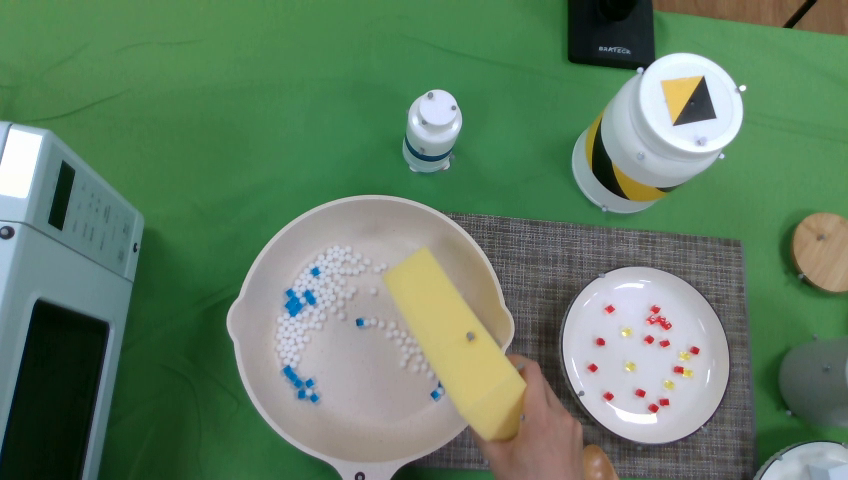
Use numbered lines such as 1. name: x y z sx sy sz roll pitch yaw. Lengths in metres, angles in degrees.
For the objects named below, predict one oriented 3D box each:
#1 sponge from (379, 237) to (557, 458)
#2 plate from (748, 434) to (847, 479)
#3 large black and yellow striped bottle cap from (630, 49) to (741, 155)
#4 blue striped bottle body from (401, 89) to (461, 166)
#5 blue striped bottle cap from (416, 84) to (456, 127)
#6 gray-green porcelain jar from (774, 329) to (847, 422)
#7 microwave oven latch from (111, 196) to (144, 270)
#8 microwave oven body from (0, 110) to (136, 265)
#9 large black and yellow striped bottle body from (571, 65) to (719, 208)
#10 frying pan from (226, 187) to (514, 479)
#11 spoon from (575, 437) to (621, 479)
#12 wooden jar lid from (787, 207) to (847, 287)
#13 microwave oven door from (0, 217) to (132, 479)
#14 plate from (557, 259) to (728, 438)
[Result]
1. sponge: 0.039 0.102 0.613 0.061 0.119 0.204 -36 41 0
2. plate: 0.466 0.333 0.708 0.208 0.039 0.206 2 76 -7
3. large black and yellow striped bottle cap: 0.273 -0.145 0.632 0.115 0.019 0.114 2 75 -6
4. blue striped bottle body: 0.008 -0.137 0.718 0.063 0.121 0.063 2 76 -7
5. blue striped bottle cap: 0.013 -0.149 0.668 0.044 0.021 0.044 2 73 -5
6. gray-green porcelain jar: 0.489 0.158 0.706 0.106 0.127 0.105 2 76 -7
7. microwave oven latch: -0.331 -0.009 0.668 0.030 0.029 0.079 8 76 -5
8. microwave oven body: -0.480 0.125 0.518 0.327 0.261 0.439 6 77 -6
9. large black and yellow striped bottle body: 0.264 -0.124 0.715 0.131 0.184 0.130 2 76 -6
10. frying pan: -0.061 0.185 0.639 0.307 0.103 0.484 4 68 -4
11. spoon: 0.241 0.302 0.693 0.193 0.022 0.041 45 59 3
12. wooden jar lid: 0.530 0.010 0.801 0.108 0.021 0.108 1 78 -6
13. microwave oven door: -0.339 0.179 0.518 0.039 0.244 0.354 5 76 -6
14. plate: 0.257 0.127 0.726 0.209 0.038 0.208 2 77 -6
